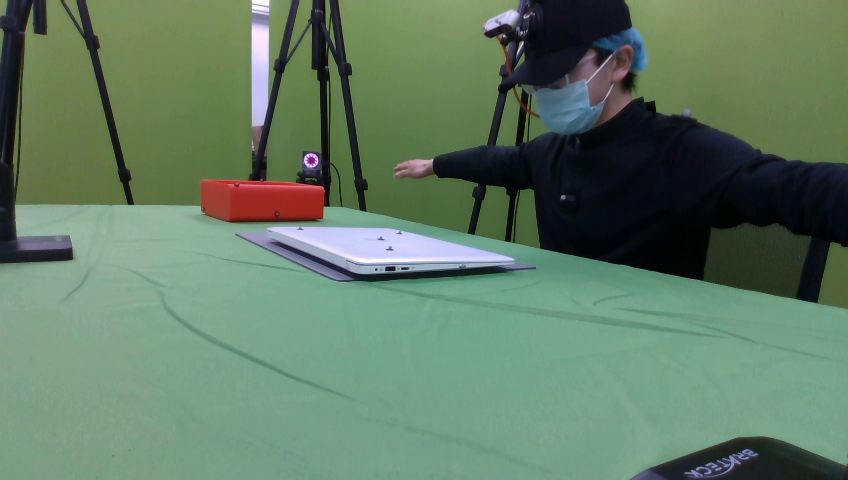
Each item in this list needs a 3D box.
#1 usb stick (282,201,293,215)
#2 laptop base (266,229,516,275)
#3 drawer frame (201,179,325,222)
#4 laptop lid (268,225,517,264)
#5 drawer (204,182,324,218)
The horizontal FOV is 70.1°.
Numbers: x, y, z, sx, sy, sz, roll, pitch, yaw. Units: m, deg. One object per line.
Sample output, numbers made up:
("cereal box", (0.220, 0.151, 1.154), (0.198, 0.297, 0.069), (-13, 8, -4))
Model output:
("usb stick", (-0.309, -0.072, 1.367), (0.021, 0.027, 0.059), (4, 5, -16))
("laptop base", (-0.065, 0.014, 0.877), (0.237, 0.023, 0.352), (2, 7, -32))
("drawer frame", (-0.362, -0.092, 1.356), (0.215, 0.082, 0.200), (-4, 10, -37))
("laptop lid", (-0.063, 0.002, 0.877), (0.243, 0.013, 0.355), (1, 7, -30))
("drawer", (-0.360, -0.091, 1.358), (0.213, 0.073, 0.193), (-4, 10, -36))
